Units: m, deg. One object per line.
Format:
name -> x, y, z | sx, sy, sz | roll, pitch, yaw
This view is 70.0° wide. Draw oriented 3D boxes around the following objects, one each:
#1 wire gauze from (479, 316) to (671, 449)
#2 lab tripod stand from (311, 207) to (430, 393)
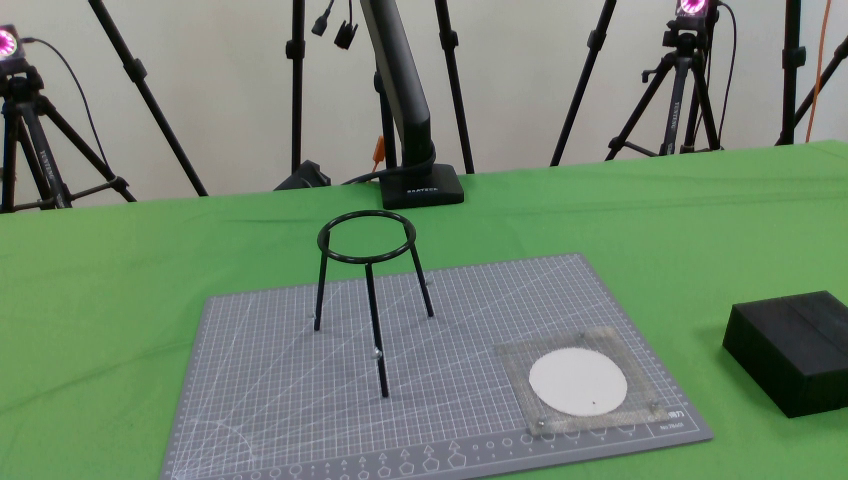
wire gauze -> 0.132, 0.118, 0.543 | 0.122, 0.011, 0.123 | -15, 39, -23
lab tripod stand -> -0.050, 0.048, 0.576 | 0.148, 0.132, 0.147 | 0, 32, 0
